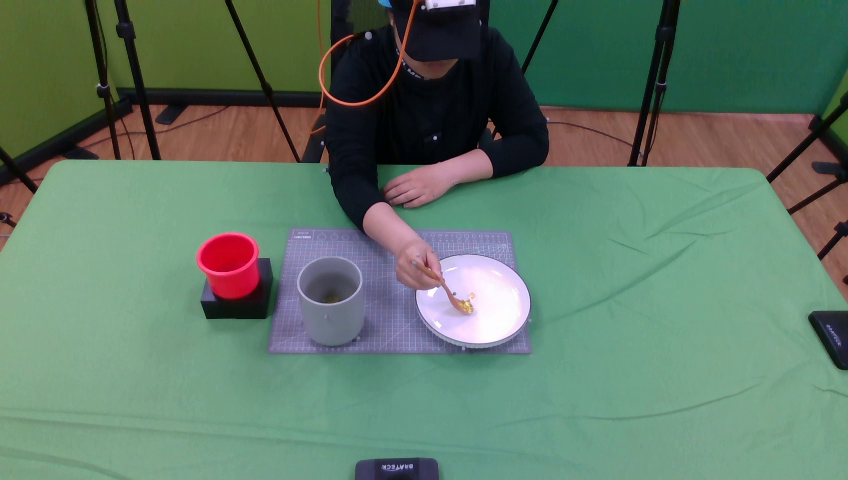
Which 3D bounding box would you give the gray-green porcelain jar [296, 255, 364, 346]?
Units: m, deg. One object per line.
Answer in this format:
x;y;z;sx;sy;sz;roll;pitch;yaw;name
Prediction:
-0.153;0.106;1.008;0.106;0.127;0.105;2;46;-2;gray-green porcelain jar

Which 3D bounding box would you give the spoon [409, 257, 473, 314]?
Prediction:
0.030;0.075;1.016;0.021;0.195;0.041;-38;43;4;spoon

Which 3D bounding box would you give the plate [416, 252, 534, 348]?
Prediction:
0.090;0.109;1.084;0.208;0.039;0.206;2;46;-2;plate
